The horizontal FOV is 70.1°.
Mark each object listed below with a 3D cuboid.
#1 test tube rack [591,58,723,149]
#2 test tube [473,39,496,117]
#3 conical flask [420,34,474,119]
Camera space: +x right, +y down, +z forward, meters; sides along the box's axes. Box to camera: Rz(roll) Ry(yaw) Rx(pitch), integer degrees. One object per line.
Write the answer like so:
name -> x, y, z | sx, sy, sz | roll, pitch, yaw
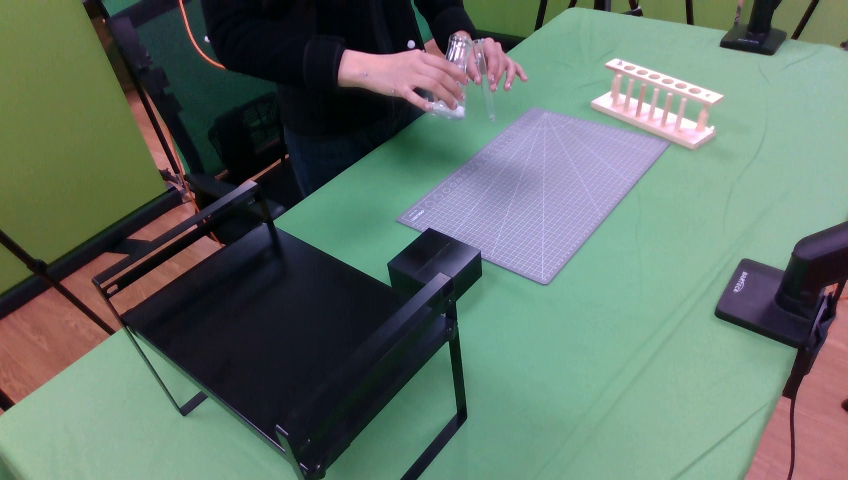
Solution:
test tube rack -> 0.442, -0.269, 1.171 | 0.067, 0.085, 0.240 | -30, 46, -24
test tube -> 0.104, -0.273, 1.032 | 0.017, 0.151, 0.017 | -10, 46, 11
conical flask -> 0.044, -0.257, 0.948 | 0.075, 0.122, 0.075 | 16, 7, -1
